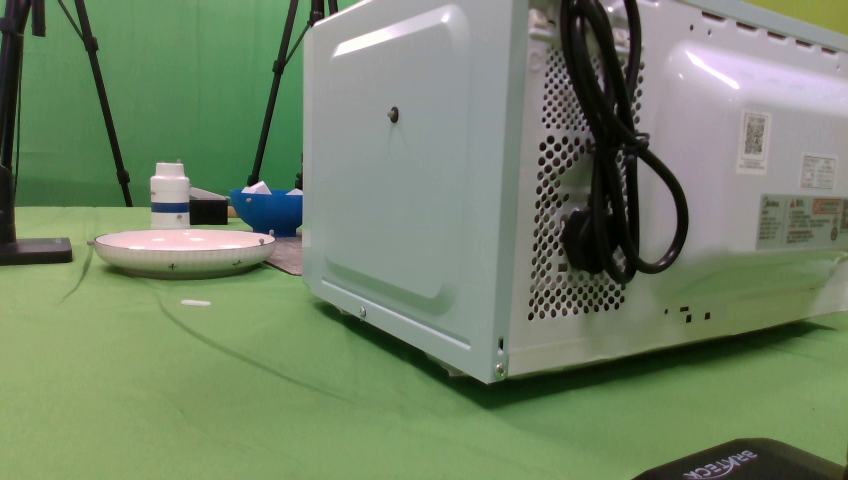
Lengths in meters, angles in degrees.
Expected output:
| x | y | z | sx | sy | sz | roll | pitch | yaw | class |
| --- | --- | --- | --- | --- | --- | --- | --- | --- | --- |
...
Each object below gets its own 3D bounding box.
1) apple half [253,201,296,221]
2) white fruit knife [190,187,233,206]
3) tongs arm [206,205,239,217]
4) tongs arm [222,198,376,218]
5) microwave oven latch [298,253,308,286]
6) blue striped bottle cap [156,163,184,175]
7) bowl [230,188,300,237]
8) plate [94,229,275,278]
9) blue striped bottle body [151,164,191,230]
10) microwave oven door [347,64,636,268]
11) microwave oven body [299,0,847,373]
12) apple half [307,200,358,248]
| x | y | z | sx | sy | sz | roll | pitch | yaw | class |
| --- | --- | --- | --- | --- | --- | --- | --- | --- | --- |
| -0.264 | -0.053 | 1.067 | 0.081 | 0.033 | 0.081 | 3 | 9 | 0 | apple half |
| -0.413 | -0.081 | 1.270 | 0.208 | 0.027 | 0.016 | 17 | 13 | -41 | white fruit knife |
| -0.302 | -0.065 | 1.407 | 0.389 | 0.028 | 0.028 | 1 | 4 | -14 | tongs arm |
| -0.309 | -0.079 | 1.486 | 0.385 | 0.026 | 0.050 | 3 | 7 | -2 | tongs arm |
| -0.081 | 0.027 | 0.582 | 0.079 | 0.029 | 0.030 | -1 | 7 | -32 | microwave oven latch |
| -0.439 | -0.122 | 1.045 | 0.044 | 0.020 | 0.044 | 7 | 8 | -1 | blue striped bottle cap |
| -0.264 | -0.048 | 1.066 | 0.151 | 0.077 | 0.151 | 3 | 8 | 0 | bowl |
| -0.291 | 0.016 | 0.749 | 0.208 | 0.039 | 0.207 | 2 | 7 | 0 | plate |
| -0.439 | -0.071 | 1.052 | 0.063 | 0.120 | 0.063 | 2 | 7 | 0 | blue striped bottle body |
| 0.084 | -0.091 | 0.770 | 0.356 | 0.243 | 0.039 | 2 | 8 | -3 | microwave oven door |
| 0.152 | -0.055 | 0.542 | 0.444 | 0.260 | 0.324 | -2 | 7 | -33 | microwave oven body |
| -0.135 | -0.024 | 0.941 | 0.053 | 0.074 | 0.081 | 13 | 8 | 39 | apple half |
